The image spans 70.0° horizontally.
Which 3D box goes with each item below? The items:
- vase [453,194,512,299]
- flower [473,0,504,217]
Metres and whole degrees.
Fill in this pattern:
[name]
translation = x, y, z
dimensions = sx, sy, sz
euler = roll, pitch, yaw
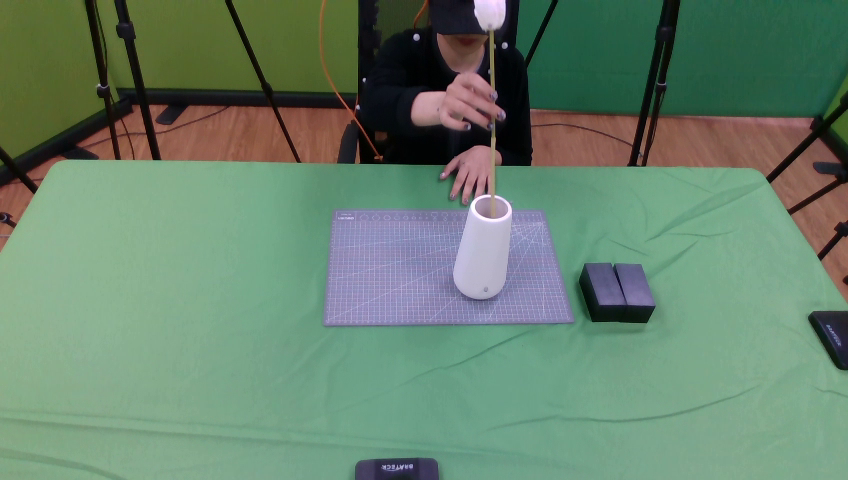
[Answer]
[vase]
translation = 0.107, 0.016, 1.065
dimensions = 0.098, 0.201, 0.097
euler = 3, 47, -3
[flower]
translation = 0.103, -0.186, 0.901
dimensions = 0.044, 0.363, 0.038
euler = -25, 38, -25
